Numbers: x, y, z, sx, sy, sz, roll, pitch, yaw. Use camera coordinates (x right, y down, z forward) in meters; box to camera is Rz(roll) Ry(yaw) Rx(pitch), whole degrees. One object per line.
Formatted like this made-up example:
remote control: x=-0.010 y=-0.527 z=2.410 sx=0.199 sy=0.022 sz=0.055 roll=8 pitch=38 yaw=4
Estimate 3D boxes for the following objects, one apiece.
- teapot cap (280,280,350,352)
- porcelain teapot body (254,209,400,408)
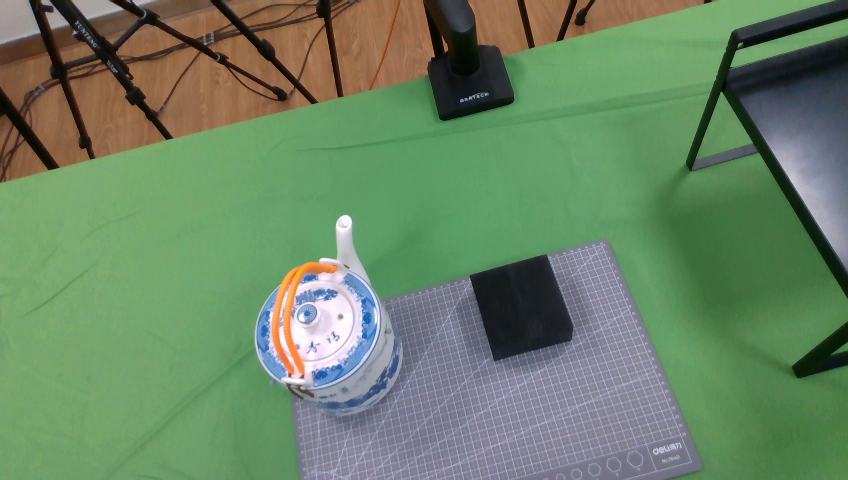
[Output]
teapot cap: x=-0.122 y=0.079 z=0.650 sx=0.085 sy=0.044 sz=0.084 roll=-5 pitch=60 yaw=9
porcelain teapot body: x=-0.110 y=0.071 z=0.697 sx=0.145 sy=0.227 sz=0.204 roll=5 pitch=64 yaw=12
